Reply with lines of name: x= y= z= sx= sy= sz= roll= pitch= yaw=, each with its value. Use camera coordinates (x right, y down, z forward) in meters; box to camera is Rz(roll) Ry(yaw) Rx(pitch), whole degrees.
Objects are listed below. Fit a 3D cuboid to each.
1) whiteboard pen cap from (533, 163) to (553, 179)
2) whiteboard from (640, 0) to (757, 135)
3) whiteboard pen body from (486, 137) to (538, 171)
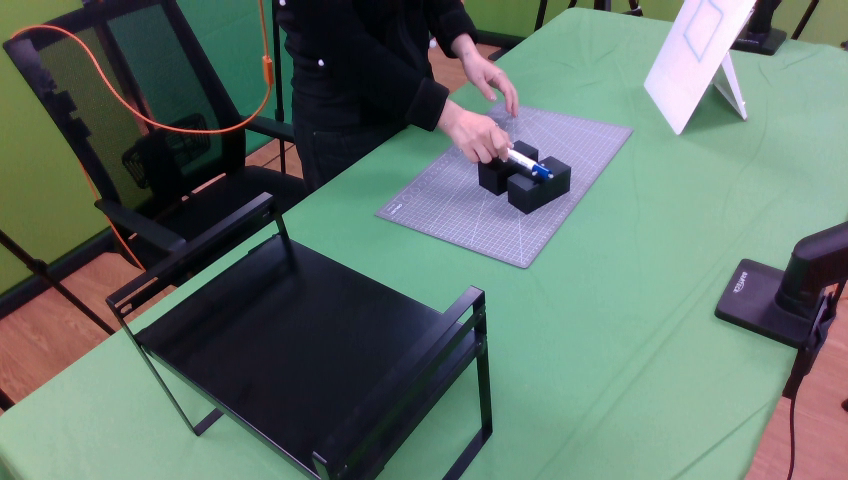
whiteboard pen cap: x=0.195 y=-0.115 z=0.996 sx=0.018 sy=0.018 sz=0.033 roll=-32 pitch=49 yaw=-26
whiteboard: x=0.576 y=-0.366 z=1.147 sx=0.144 sy=0.305 sz=0.216 roll=10 pitch=39 yaw=-10
whiteboard pen body: x=0.158 y=-0.143 z=1.030 sx=0.017 sy=0.017 sz=0.139 roll=-31 pitch=48 yaw=-25
